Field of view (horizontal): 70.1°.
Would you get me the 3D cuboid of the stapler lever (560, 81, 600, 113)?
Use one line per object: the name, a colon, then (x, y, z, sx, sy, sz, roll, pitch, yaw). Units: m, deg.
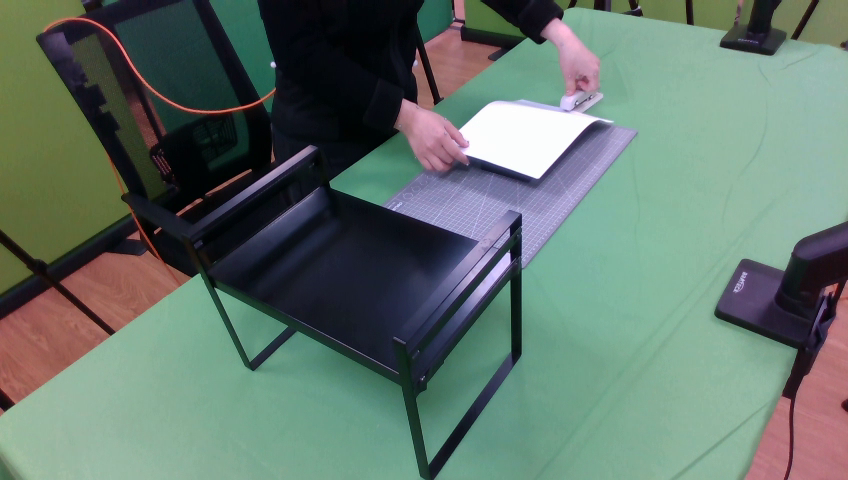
stapler lever: (0.322, -0.301, 1.251, 0.026, 0.040, 0.118, 28, 58, 34)

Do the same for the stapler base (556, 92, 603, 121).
stapler base: (0.324, -0.287, 1.261, 0.041, 0.024, 0.131, 28, 49, 34)
